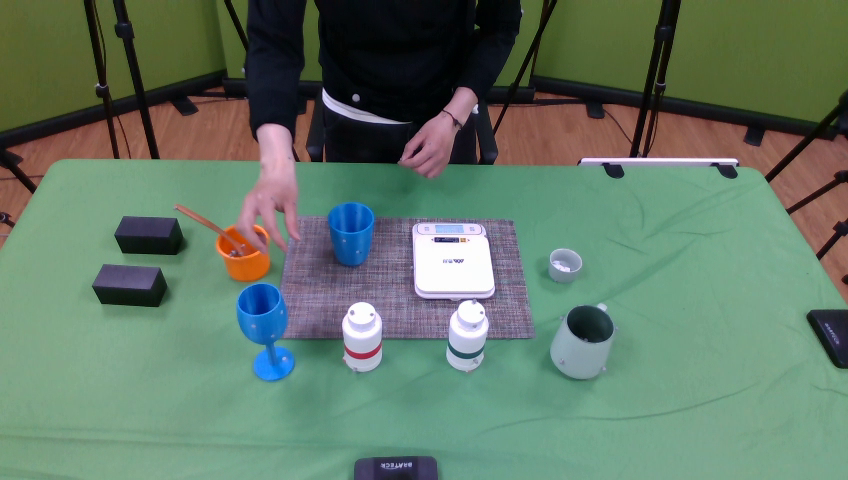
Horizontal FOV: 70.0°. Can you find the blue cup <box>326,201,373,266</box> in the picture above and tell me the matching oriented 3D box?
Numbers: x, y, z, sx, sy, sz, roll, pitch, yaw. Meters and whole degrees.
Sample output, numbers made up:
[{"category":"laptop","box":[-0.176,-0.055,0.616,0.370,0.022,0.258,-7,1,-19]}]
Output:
[{"category":"blue cup","box":[-0.138,-0.006,1.132,0.093,0.101,0.092,3,45,-3]}]

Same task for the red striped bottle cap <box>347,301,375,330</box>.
[{"category":"red striped bottle cap","box":[-0.097,0.116,0.934,0.044,0.018,0.044,3,49,-3]}]

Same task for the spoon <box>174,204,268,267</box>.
[{"category":"spoon","box":[-0.363,-0.009,1.089,0.021,0.195,0.041,-33,31,24]}]

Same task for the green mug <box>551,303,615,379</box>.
[{"category":"green mug","box":[0.271,0.157,1.007,0.092,0.105,0.125,27,50,21]}]

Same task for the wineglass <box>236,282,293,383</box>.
[{"category":"wineglass","box":[-0.243,0.143,0.934,0.074,0.173,0.073,2,46,-2]}]

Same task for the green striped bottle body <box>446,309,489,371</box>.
[{"category":"green striped bottle body","box":[0.070,0.155,0.984,0.063,0.120,0.063,2,46,-2]}]

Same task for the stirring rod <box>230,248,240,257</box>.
[{"category":"stirring rod","box":[-0.330,0.023,1.059,0.014,0.176,0.006,32,79,-12]}]

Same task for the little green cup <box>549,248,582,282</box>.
[{"category":"little green cup","box":[0.268,0.050,1.156,0.061,0.039,0.061,1,46,-1]}]

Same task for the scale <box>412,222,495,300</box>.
[{"category":"scale","box":[0.052,0.031,1.158,0.149,0.032,0.199,1,46,-4]}]

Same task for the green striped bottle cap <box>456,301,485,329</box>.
[{"category":"green striped bottle cap","box":[0.073,0.116,0.943,0.044,0.020,0.044,3,46,-3]}]

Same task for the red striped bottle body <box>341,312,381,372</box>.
[{"category":"red striped bottle body","box":[-0.100,0.154,0.972,0.063,0.120,0.062,2,45,-2]}]
